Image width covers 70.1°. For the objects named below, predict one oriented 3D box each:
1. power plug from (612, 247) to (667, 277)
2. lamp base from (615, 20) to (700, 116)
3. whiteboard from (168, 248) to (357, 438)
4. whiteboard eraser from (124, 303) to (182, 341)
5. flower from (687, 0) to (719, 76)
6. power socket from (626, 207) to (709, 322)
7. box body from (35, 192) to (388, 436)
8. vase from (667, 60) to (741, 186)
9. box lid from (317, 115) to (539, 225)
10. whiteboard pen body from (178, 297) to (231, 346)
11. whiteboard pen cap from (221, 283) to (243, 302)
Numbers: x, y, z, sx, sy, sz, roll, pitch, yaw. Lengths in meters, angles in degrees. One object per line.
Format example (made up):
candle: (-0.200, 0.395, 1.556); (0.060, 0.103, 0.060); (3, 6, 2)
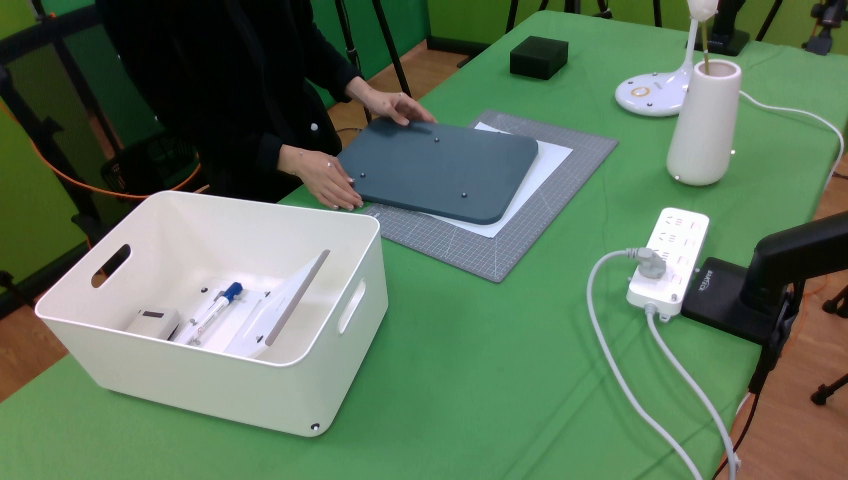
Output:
power plug: (0.306, 0.031, 0.852); (0.072, 0.053, 0.035); (21, 48, 37)
lamp base: (0.484, -0.364, 1.211); (0.180, 0.181, 0.159); (-15, 41, -14)
whiteboard: (-0.242, 0.100, 0.799); (0.304, 0.144, 0.217); (8, 44, 15)
whiteboard eraser: (-0.384, 0.139, 0.828); (0.055, 0.042, 0.112); (9, 41, 8)
flower: (0.436, -0.242, 0.934); (0.038, 0.364, 0.043); (-24, 49, 8)
power socket: (0.360, 0.026, 0.886); (0.072, 0.033, 0.227); (17, 46, 27)
box body: (-0.251, 0.088, 0.800); (0.362, 0.161, 0.254); (7, 42, 16)
vase: (0.463, -0.189, 0.994); (0.098, 0.201, 0.097); (-4, 40, 4)
box lid: (0.010, -0.143, 1.138); (0.369, 0.015, 0.263); (13, 46, 22)
whiteboard pen body: (-0.300, 0.113, 0.832); (0.017, 0.017, 0.141); (11, 40, 20)
whiteboard pen cap: (-0.278, 0.078, 0.874); (0.018, 0.018, 0.033); (11, 41, 20)
